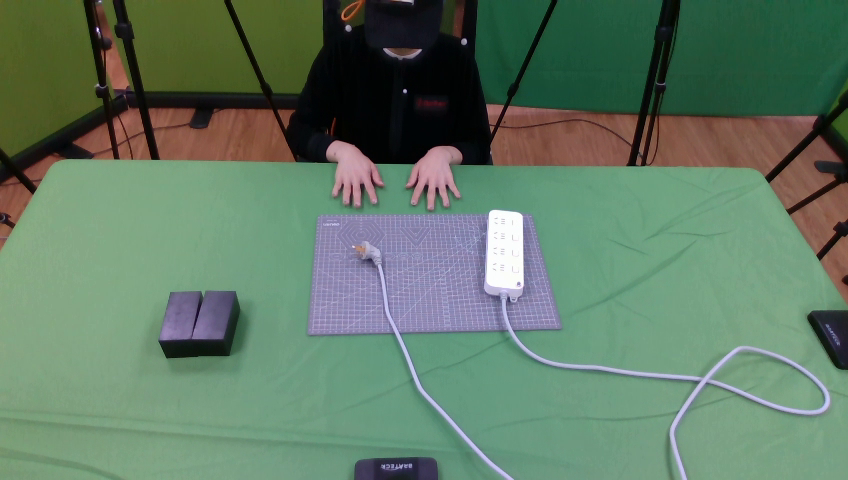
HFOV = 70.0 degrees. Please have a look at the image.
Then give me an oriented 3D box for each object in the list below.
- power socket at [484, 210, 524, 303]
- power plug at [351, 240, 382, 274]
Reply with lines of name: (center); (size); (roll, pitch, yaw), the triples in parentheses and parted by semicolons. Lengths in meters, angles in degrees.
power socket: (0.157, 0.023, 1.175); (0.072, 0.033, 0.225); (6, 46, 3)
power plug: (-0.107, 0.029, 1.144); (0.053, 0.035, 0.072); (3, 31, -24)
